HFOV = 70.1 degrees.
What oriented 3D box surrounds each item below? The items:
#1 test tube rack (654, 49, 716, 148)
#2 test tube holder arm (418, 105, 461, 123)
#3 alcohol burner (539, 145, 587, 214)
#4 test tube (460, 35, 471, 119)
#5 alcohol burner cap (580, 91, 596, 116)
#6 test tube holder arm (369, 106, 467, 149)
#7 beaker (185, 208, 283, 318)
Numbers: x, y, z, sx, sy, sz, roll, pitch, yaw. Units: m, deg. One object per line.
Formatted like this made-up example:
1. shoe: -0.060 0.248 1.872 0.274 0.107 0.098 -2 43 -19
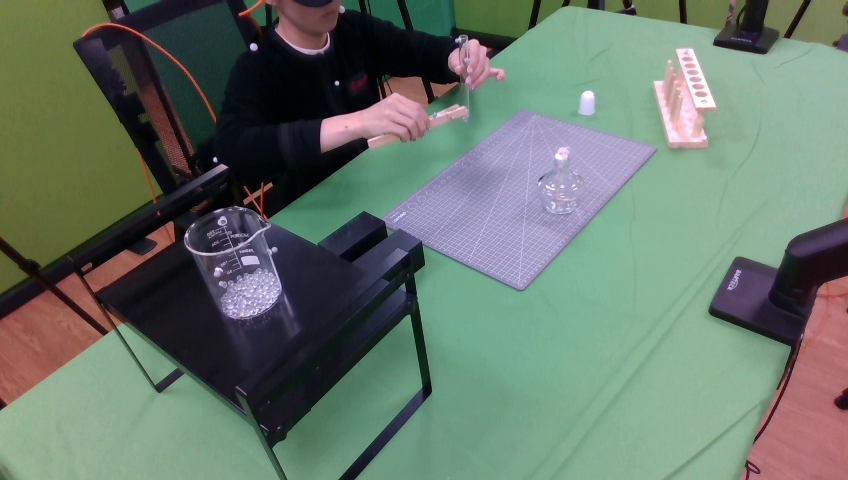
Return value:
1. test tube rack: 0.502 -0.281 1.176 0.066 0.085 0.241 1 41 11
2. test tube holder arm: 0.027 -0.206 1.012 0.088 0.015 0.010 -29 29 -28
3. alcohol burner: 0.226 -0.102 0.986 0.078 0.119 0.077 -6 41 6
4. test tube: 0.073 -0.281 1.053 0.017 0.151 0.017 -3 39 3
5. alcohol burner cap: 0.338 -0.283 1.238 0.034 0.048 0.033 -5 42 5
6. test tube holder arm: -0.008 -0.186 0.990 0.179 0.015 0.013 -25 26 -20
7. beaker: -0.192 0.026 0.637 0.084 0.101 0.073 -13 41 -7
